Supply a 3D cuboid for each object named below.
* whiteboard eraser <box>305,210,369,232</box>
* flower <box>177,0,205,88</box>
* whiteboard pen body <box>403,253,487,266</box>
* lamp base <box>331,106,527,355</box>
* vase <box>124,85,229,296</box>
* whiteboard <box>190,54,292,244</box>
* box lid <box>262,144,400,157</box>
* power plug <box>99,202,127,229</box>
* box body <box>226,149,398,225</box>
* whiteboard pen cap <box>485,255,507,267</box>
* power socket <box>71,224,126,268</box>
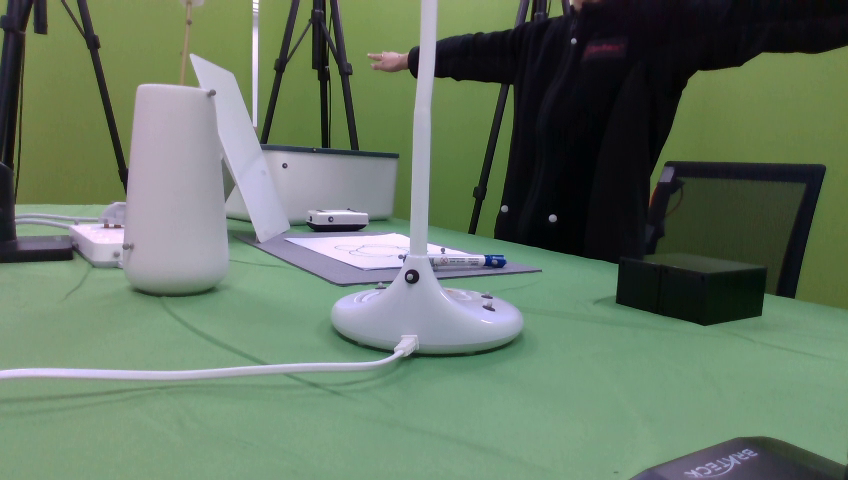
[{"bbox_3d":[-0.168,-0.038,1.172,0.113,0.042,0.055,-3,7,-35],"label":"whiteboard eraser"},{"bbox_3d":[-0.243,-0.131,0.609,0.044,0.361,0.038,-5,-12,12],"label":"flower"},{"bbox_3d":[0.040,0.026,0.785,0.141,0.017,0.017,1,7,-24],"label":"whiteboard pen body"},{"bbox_3d":[0.006,-0.012,0.478,0.161,0.180,0.179,2,10,2],"label":"lamp base"},{"bbox_3d":[-0.244,-0.047,0.598,0.098,0.200,0.098,3,8,0],"label":"vase"},{"bbox_3d":[-0.363,-0.129,1.028,0.144,0.305,0.217,-18,7,3],"label":"whiteboard"},{"bbox_3d":[-0.263,-0.203,1.369,0.262,0.015,0.373,9,10,39],"label":"box lid"},{"bbox_3d":[-0.415,-0.026,0.848,0.073,0.052,0.035,6,5,-28],"label":"power plug"},{"bbox_3d":[-0.265,-0.129,1.380,0.253,0.160,0.366,8,9,39],"label":"box body"},{"bbox_3d":[0.093,0.028,0.810,0.033,0.018,0.018,1,7,-24],"label":"whiteboard pen cap"},{"bbox_3d":[-0.409,0.004,0.793,0.072,0.032,0.225,-2,8,-37],"label":"power socket"}]
